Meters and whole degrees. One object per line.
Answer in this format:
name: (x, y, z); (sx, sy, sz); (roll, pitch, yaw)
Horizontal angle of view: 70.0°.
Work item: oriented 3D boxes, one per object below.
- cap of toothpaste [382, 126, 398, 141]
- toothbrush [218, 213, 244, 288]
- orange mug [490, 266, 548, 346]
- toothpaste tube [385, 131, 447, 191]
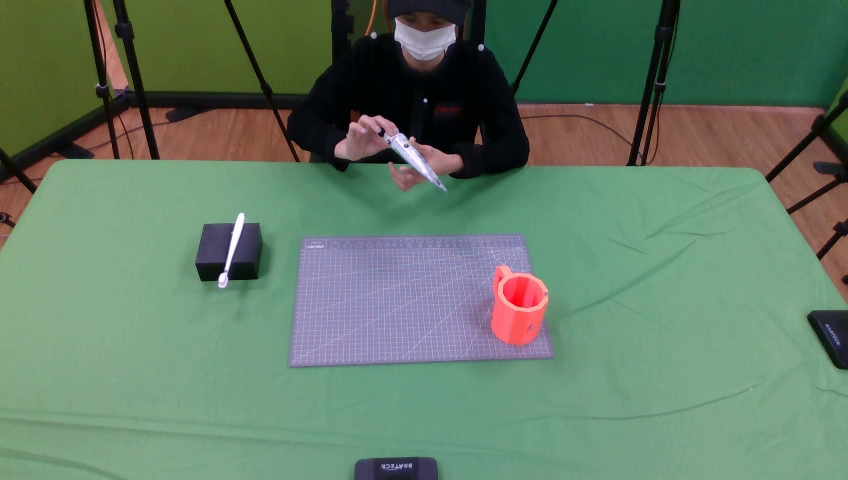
cap of toothpaste: (-0.064, -0.202, 1.168); (0.037, 0.037, 0.011); (-29, 60, -28)
toothbrush: (-0.347, 0.013, 1.094); (0.014, 0.017, 0.180); (-2, 46, 1)
orange mug: (0.155, 0.107, 1.051); (0.083, 0.101, 0.125); (-15, 53, -18)
toothpaste tube: (-0.018, -0.151, 1.131); (0.164, 0.034, 0.055); (47, 18, 27)
